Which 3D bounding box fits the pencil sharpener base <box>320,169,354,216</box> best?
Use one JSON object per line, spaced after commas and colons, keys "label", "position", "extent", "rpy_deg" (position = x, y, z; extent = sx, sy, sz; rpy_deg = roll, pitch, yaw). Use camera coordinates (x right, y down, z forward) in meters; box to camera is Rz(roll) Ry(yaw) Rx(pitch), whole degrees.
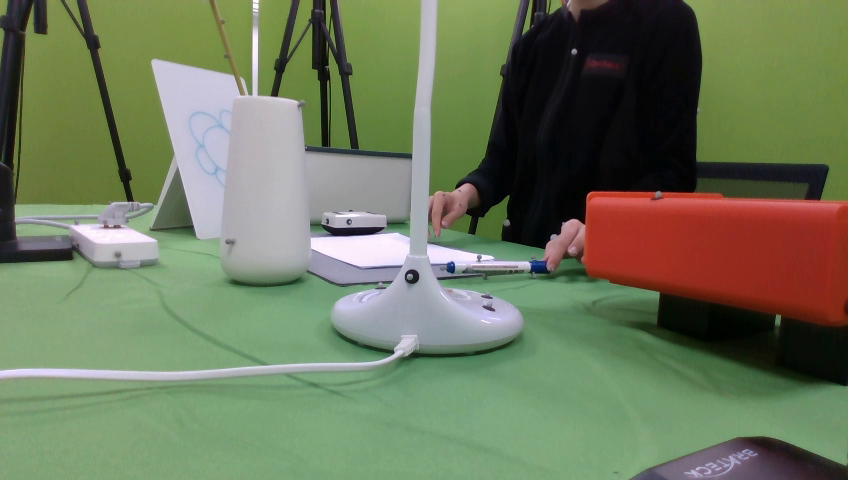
{"label": "pencil sharpener base", "position": [-0.207, -0.113, 1.439], "extent": [0.077, 0.107, 0.061], "rpy_deg": [1, 6, -11]}

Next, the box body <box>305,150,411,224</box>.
{"label": "box body", "position": [-0.230, -0.126, 1.372], "extent": [0.366, 0.160, 0.253], "rpy_deg": [-2, 9, -33]}

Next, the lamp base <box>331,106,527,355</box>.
{"label": "lamp base", "position": [0.006, -0.012, 0.478], "extent": [0.161, 0.180, 0.179], "rpy_deg": [2, 10, 2]}

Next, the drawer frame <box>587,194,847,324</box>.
{"label": "drawer frame", "position": [0.286, 0.004, 0.508], "extent": [0.203, 0.082, 0.212], "rpy_deg": [-1, 6, -30]}

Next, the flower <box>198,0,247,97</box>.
{"label": "flower", "position": [-0.187, -0.133, 0.648], "extent": [0.038, 0.362, 0.044], "rpy_deg": [-1, 22, 43]}

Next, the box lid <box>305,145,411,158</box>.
{"label": "box lid", "position": [-0.228, -0.200, 1.362], "extent": [0.373, 0.015, 0.262], "rpy_deg": [-1, 8, -33]}

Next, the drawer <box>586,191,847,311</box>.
{"label": "drawer", "position": [0.281, 0.001, 0.512], "extent": [0.195, 0.073, 0.210], "rpy_deg": [-1, 8, -29]}

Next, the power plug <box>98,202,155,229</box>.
{"label": "power plug", "position": [-0.416, -0.027, 0.848], "extent": [0.073, 0.052, 0.035], "rpy_deg": [0, 8, -28]}

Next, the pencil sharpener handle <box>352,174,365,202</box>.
{"label": "pencil sharpener handle", "position": [-0.156, -0.125, 1.450], "extent": [0.031, 0.068, 0.036], "rpy_deg": [1, 20, -10]}

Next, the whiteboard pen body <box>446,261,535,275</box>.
{"label": "whiteboard pen body", "position": [0.093, 0.035, 0.741], "extent": [0.141, 0.017, 0.017], "rpy_deg": [1, 7, -25]}

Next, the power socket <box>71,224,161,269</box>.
{"label": "power socket", "position": [-0.408, 0.004, 0.793], "extent": [0.072, 0.032, 0.225], "rpy_deg": [-2, 8, -38]}

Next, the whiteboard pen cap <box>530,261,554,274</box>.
{"label": "whiteboard pen cap", "position": [0.147, 0.035, 0.766], "extent": [0.033, 0.018, 0.018], "rpy_deg": [0, 8, -24]}

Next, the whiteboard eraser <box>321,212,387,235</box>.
{"label": "whiteboard eraser", "position": [-0.128, -0.031, 1.108], "extent": [0.113, 0.042, 0.055], "rpy_deg": [-3, 7, -38]}

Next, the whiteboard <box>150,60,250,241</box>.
{"label": "whiteboard", "position": [-0.408, -0.139, 1.093], "extent": [0.143, 0.305, 0.218], "rpy_deg": [-15, -1, 26]}

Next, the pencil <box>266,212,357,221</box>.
{"label": "pencil", "position": [-0.244, -0.049, 1.319], "extent": [0.195, 0.012, 0.012], "rpy_deg": [3, 7, -12]}

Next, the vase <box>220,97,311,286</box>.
{"label": "vase", "position": [-0.172, -0.052, 0.662], "extent": [0.098, 0.200, 0.098], "rpy_deg": [3, 8, 0]}
